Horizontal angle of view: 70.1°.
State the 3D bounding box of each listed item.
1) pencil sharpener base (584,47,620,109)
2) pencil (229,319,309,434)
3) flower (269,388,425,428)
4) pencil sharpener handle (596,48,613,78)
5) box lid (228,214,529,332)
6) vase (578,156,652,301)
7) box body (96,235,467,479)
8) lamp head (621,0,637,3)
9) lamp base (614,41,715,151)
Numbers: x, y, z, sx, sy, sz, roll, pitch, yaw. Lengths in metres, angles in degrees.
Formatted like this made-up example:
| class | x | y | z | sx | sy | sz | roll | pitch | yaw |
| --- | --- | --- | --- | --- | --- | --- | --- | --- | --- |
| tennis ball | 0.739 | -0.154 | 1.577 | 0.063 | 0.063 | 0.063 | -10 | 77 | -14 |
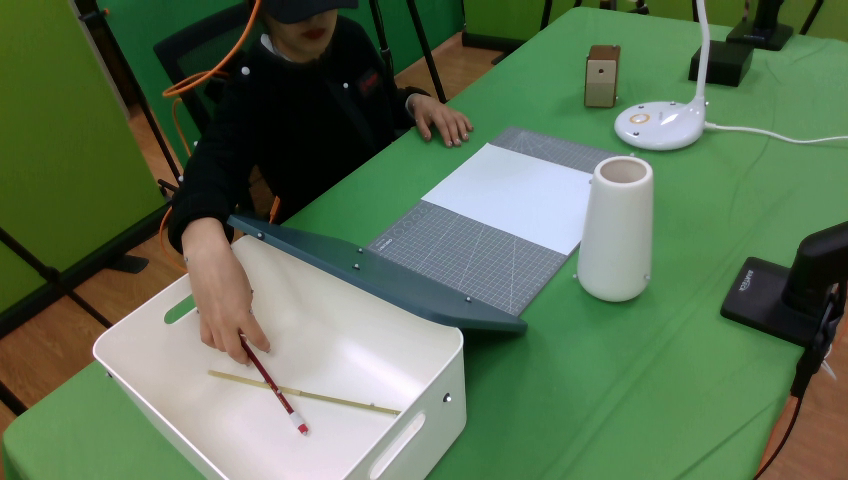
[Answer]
| class | x | y | z | sx | sy | sz | roll | pitch | yaw |
| --- | --- | --- | --- | --- | --- | --- | --- | --- | --- |
| pencil sharpener base | 0.367 | -0.336 | 1.248 | 0.061 | 0.107 | 0.076 | 6 | 42 | 19 |
| pencil | -0.203 | 0.171 | 0.778 | 0.012 | 0.012 | 0.192 | -32 | 62 | -24 |
| flower | -0.122 | 0.202 | 0.770 | 0.360 | 0.038 | 0.044 | 2 | 77 | 22 |
| pencil sharpener handle | 0.383 | -0.378 | 1.276 | 0.036 | 0.068 | 0.030 | 2 | 41 | 22 |
| box lid | -0.061 | 0.045 | 0.812 | 0.368 | 0.265 | 0.015 | 22 | 93 | 32 |
| vase | 0.261 | -0.011 | 0.812 | 0.098 | 0.201 | 0.097 | -4 | 40 | 4 |
| box body | -0.155 | 0.169 | 0.707 | 0.361 | 0.161 | 0.255 | 23 | 49 | 33 |
| lamp head | 0.319 | -0.453 | 0.962 | 0.113 | 0.123 | 0.112 | 20 | 33 | -13 |
| lamp base | 0.449 | -0.277 | 1.106 | 0.179 | 0.181 | 0.160 | 1 | 41 | 9 |
